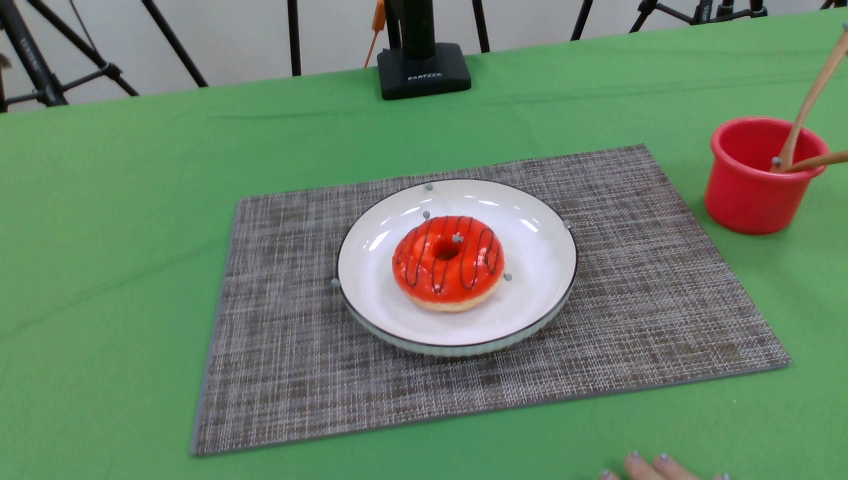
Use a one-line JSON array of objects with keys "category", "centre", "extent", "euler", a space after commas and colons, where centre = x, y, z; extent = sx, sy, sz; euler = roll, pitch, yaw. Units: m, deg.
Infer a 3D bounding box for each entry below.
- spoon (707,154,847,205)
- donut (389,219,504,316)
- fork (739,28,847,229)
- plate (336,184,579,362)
[{"category": "spoon", "centre": [0.326, -0.057, 0.517], "extent": [0.041, 0.193, 0.022], "euler": [-38, 96, -22]}, {"category": "donut", "centre": [0.020, 0.023, 0.522], "extent": [0.099, 0.049, 0.098], "euler": [-4, 45, 4]}, {"category": "fork", "centre": [0.347, -0.103, 0.555], "extent": [0.019, 0.207, 0.028], "euler": [22, 5, -23]}, {"category": "plate", "centre": [0.029, 0.027, 0.533], "extent": [0.209, 0.038, 0.207], "euler": [-3, 42, 3]}]
